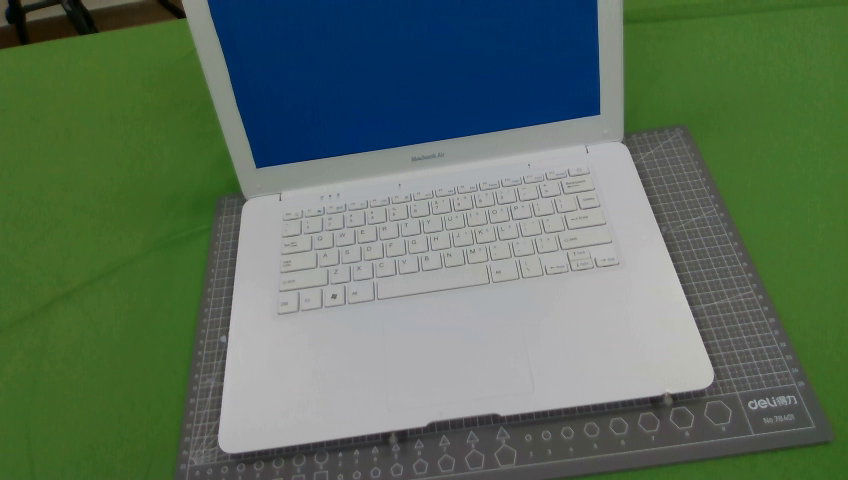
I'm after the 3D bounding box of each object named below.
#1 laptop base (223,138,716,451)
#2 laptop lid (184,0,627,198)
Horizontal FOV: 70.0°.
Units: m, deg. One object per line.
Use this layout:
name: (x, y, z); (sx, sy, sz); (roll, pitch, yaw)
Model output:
laptop base: (0.019, 0.033, 0.491); (0.354, 0.023, 0.233); (-9, 58, 3)
laptop lid: (-0.009, -0.164, 0.506); (0.356, 0.243, 0.013); (-10, 27, 3)
